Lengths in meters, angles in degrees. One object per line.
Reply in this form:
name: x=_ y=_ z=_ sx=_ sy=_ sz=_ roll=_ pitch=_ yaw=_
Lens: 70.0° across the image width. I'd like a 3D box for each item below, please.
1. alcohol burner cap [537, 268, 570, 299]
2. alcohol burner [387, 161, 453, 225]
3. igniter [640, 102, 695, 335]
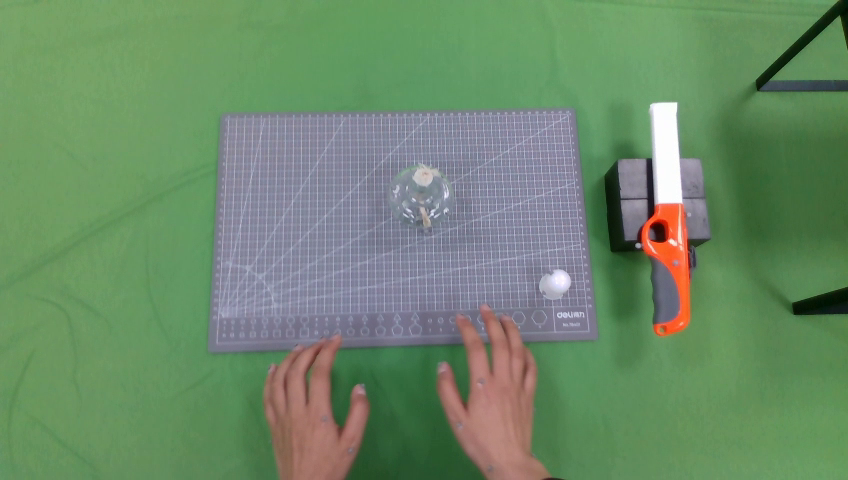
alcohol burner cap: x=0.152 y=0.049 z=0.704 sx=0.034 sy=0.048 sz=0.033 roll=1 pitch=75 yaw=-2
alcohol burner: x=-0.004 y=-0.059 z=0.688 sx=0.078 sy=0.119 sz=0.077 roll=1 pitch=75 yaw=-4
igniter: x=0.275 y=-0.030 z=0.691 sx=0.057 sy=0.025 sz=0.275 roll=1 pitch=75 yaw=10
